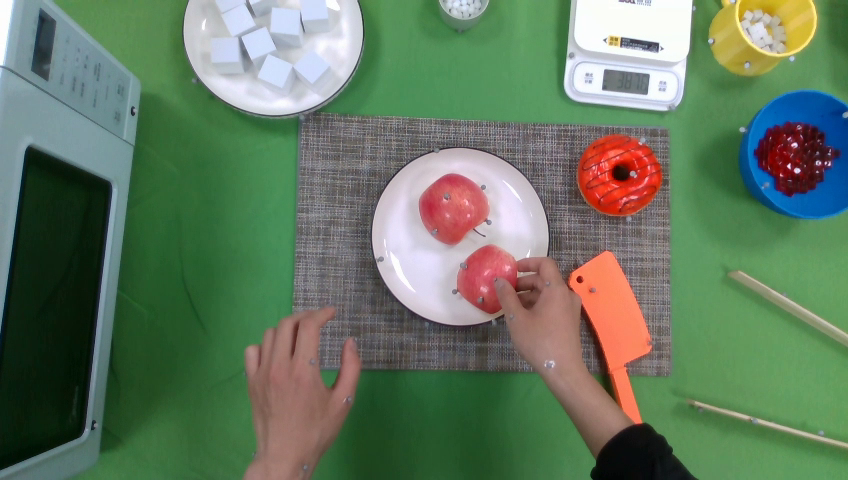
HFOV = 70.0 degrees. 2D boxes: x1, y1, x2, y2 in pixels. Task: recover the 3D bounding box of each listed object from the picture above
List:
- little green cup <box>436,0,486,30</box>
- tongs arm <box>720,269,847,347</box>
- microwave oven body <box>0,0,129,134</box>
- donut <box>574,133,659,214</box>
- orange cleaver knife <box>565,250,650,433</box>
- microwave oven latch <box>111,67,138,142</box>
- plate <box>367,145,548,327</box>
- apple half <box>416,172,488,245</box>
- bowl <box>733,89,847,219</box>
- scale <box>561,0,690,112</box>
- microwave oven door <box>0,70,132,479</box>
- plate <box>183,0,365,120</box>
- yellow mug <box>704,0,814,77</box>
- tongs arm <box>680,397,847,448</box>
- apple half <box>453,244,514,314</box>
[{"bbox_3d":[0.043,-0.287,0.734,0.061,0.038,0.061,0,84,-3],"label":"little green cup"},{"bbox_3d":[0.528,0.142,0.733,0.387,0.028,0.028,32,74,0],"label":"tongs arm"},{"bbox_3d":[-0.497,0.002,0.559,0.326,0.260,0.440,4,85,-4],"label":"microwave oven body"},{"bbox_3d":[0.227,-0.079,0.720,0.099,0.048,0.099,0,85,-1],"label":"donut"},{"bbox_3d":[0.228,0.118,0.715,0.077,0.012,0.211,-16,85,-9],"label":"orange cleaver knife"},{"bbox_3d":[-0.341,-0.153,0.679,0.030,0.029,0.079,6,85,-3],"label":"microwave oven latch"},{"bbox_3d":[0.038,-0.004,0.704,0.209,0.038,0.208,0,85,-3],"label":"plate"},{"bbox_3d":[0.032,-0.040,0.692,0.081,0.053,0.074,-35,85,-6],"label":"apple half"},{"bbox_3d":[0.430,-0.094,0.721,0.151,0.077,0.151,0,85,-3],"label":"bowl"},{"bbox_3d":[0.250,-0.264,0.748,0.149,0.031,0.200,6,85,-2],"label":"scale"},{"bbox_3d":[-0.354,0.054,0.558,0.039,0.244,0.355,4,84,-3],"label":"microwave oven door"},{"bbox_3d":[-0.173,-0.241,0.716,0.208,0.039,0.207,0,85,-4],"label":"plate"},{"bbox_3d":[0.399,-0.273,0.740,0.100,0.064,0.130,-31,87,-5],"label":"yellow mug"},{"bbox_3d":[0.495,0.222,0.718,0.385,0.026,0.050,17,78,-2],"label":"tongs arm"},{"bbox_3d":[0.061,0.039,0.674,0.081,0.033,0.081,-9,76,40],"label":"apple half"}]
